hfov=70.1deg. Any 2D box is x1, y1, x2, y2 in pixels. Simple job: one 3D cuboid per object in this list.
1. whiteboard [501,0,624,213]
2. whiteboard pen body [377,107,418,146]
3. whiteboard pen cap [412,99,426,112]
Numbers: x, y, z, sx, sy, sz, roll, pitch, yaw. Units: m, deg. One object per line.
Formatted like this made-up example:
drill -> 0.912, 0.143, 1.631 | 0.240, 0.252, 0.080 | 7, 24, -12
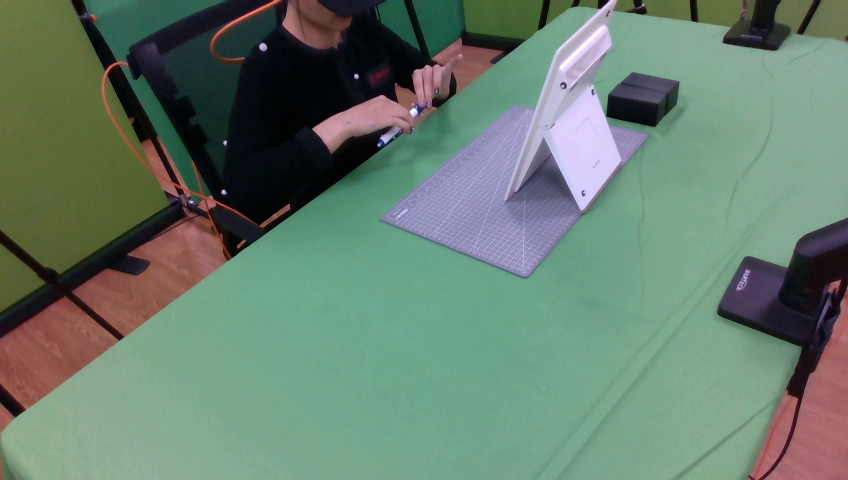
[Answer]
whiteboard -> 0.271, -0.189, 0.977 | 0.143, 0.306, 0.218 | 34, 53, 16
whiteboard pen body -> -0.044, -0.227, 1.176 | 0.017, 0.017, 0.141 | 22, 56, 32
whiteboard pen cap -> -0.011, -0.267, 1.207 | 0.018, 0.018, 0.033 | 19, 53, 30
